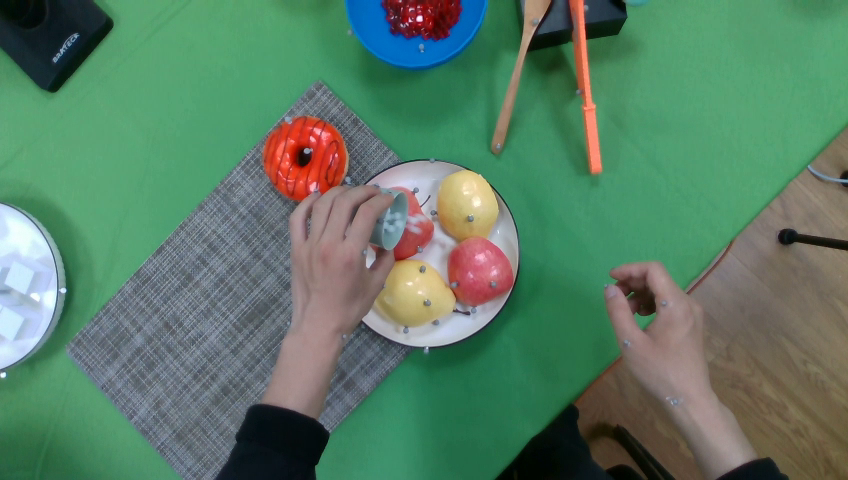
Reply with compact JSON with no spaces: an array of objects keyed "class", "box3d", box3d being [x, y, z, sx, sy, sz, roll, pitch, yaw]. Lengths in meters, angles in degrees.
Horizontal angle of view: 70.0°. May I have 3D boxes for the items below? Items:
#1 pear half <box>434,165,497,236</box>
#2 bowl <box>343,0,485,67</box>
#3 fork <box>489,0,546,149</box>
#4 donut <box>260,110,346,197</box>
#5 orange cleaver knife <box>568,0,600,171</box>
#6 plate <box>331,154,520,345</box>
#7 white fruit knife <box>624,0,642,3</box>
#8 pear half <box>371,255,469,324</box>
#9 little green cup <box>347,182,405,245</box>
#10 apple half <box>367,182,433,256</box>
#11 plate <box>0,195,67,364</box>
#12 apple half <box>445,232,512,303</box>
[{"class":"pear half","box3d":[0.042,-0.036,0.658,0.070,0.031,0.088,-12,101,30]},{"class":"bowl","box3d":[-0.007,-0.256,0.664,0.151,0.077,0.151,0,90,6]},{"class":"fork","box3d":[0.100,-0.196,0.647,0.028,0.018,0.208,13,111,-2]},{"class":"donut","box3d":[-0.138,-0.098,0.688,0.099,0.048,0.099,0,92,8]},{"class":"orange cleaver knife","box3d":[0.167,-0.180,0.643,0.012,0.076,0.213,-9,114,11]},{"class":"plate","box3d":[0.002,0.010,0.676,0.209,0.038,0.209,0,89,5]},{"class":"white fruit knife","box3d":[0.150,-0.318,0.630,0.207,0.016,0.027,46,65,7]},{"class":"pear half","box3d":[-0.002,0.059,0.663,0.110,0.056,0.076,17,96,2]},{"class":"little green cup","box3d":[-0.048,-0.028,0.603,0.038,0.062,0.061,15,90,17]},{"class":"apple half","box3d":[-0.034,-0.022,0.663,0.074,0.053,0.081,-28,90,6]},{"class":"plate","box3d":[-0.526,0.047,0.734,0.207,0.039,0.207,0,89,6]},{"class":"apple half","box3d":[0.051,0.032,0.653,0.081,0.033,0.081,7,106,25]}]
